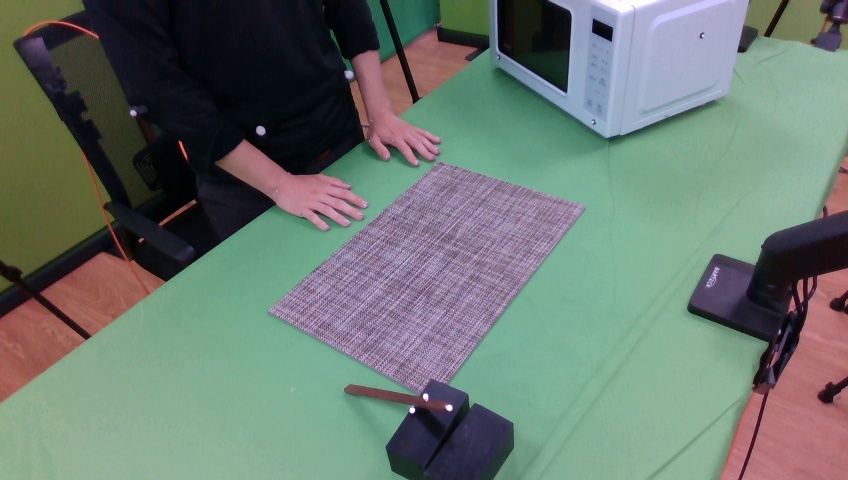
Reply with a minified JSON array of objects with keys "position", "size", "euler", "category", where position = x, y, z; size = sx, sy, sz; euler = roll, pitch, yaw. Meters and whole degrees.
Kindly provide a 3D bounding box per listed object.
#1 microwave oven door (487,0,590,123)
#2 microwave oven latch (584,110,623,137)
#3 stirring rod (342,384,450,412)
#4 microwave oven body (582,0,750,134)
[{"position":[0.232,-0.420,1.231],"size":[0.039,0.245,0.352],"euler":[-22,43,-16],"category":"microwave oven door"},{"position":[0.337,-0.222,1.142],"size":[0.030,0.029,0.078],"euler":[-21,42,-14],"category":"microwave oven latch"},{"position":[-0.038,0.186,0.714],"size":[0.175,0.006,0.014],"euler":[-3,22,43],"category":"stirring rod"},{"position":[0.382,-0.444,1.246],"size":[0.327,0.261,0.437],"euler":[-22,42,-16],"category":"microwave oven body"}]
